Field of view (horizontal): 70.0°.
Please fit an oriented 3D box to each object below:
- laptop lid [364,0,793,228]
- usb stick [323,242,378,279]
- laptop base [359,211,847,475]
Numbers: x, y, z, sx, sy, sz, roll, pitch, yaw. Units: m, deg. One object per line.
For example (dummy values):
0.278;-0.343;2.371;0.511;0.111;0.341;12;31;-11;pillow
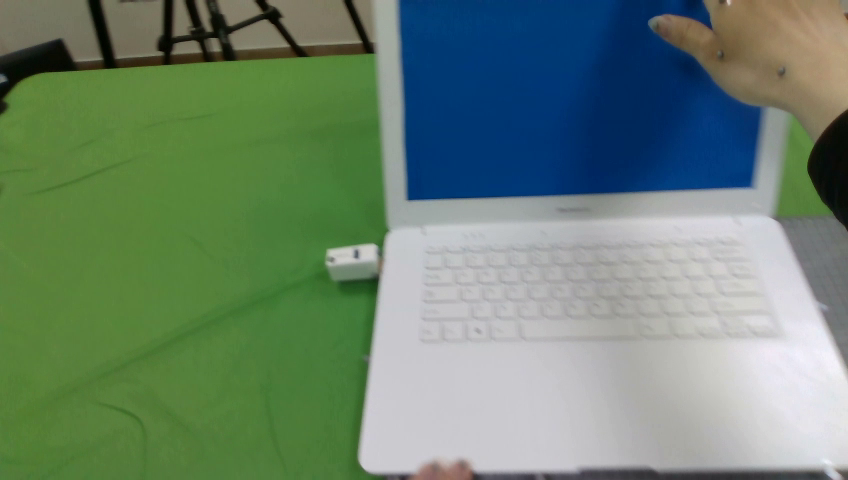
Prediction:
0.129;-0.124;0.528;0.356;0.243;0.013;-4;18;4;laptop lid
-0.058;0.018;0.541;0.059;0.027;0.021;-4;47;3;usb stick
0.133;0.072;0.487;0.354;0.023;0.233;-2;50;4;laptop base
